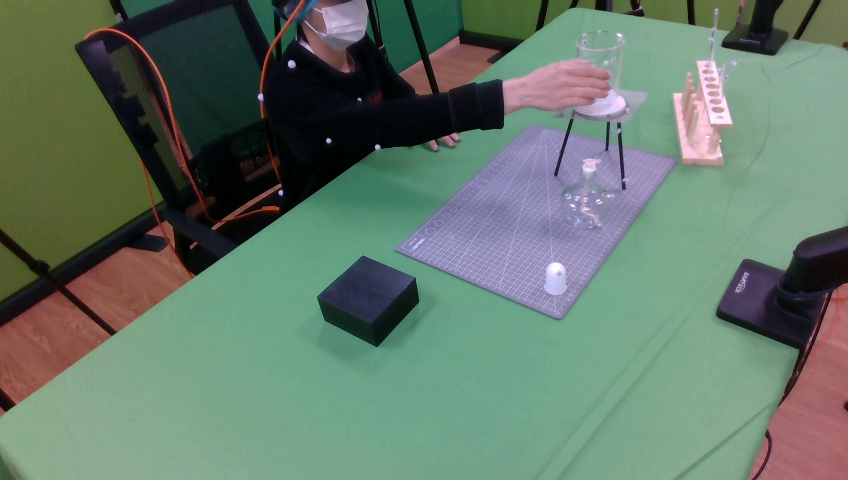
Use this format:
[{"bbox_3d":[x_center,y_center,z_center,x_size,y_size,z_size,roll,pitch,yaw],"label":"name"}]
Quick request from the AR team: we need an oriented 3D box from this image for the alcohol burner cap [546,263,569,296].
[{"bbox_3d":[0.191,0.053,0.862,0.034,0.048,0.033,-5,40,4],"label":"alcohol burner cap"}]

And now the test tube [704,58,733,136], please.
[{"bbox_3d":[0.516,-0.247,1.062,0.017,0.151,0.017,-3,43,4],"label":"test tube"}]

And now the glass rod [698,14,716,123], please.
[{"bbox_3d":[0.531,-0.320,1.136,0.008,0.200,0.008,3,12,0],"label":"glass rod"}]

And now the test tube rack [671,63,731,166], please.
[{"bbox_3d":[0.513,-0.240,1.132,0.066,0.085,0.242,4,41,14],"label":"test tube rack"}]

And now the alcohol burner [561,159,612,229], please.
[{"bbox_3d":[0.257,-0.077,0.951,0.078,0.119,0.077,-3,40,3],"label":"alcohol burner"}]

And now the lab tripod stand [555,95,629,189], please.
[{"bbox_3d":[0.300,-0.174,1.045,0.148,0.132,0.147,-5,38,5],"label":"lab tripod stand"}]

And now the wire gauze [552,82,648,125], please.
[{"bbox_3d":[0.293,-0.226,1.002,0.120,0.011,0.125,17,45,27],"label":"wire gauze"}]

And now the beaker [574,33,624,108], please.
[{"bbox_3d":[0.282,-0.272,0.973,0.084,0.101,0.073,-21,41,-13],"label":"beaker"}]
